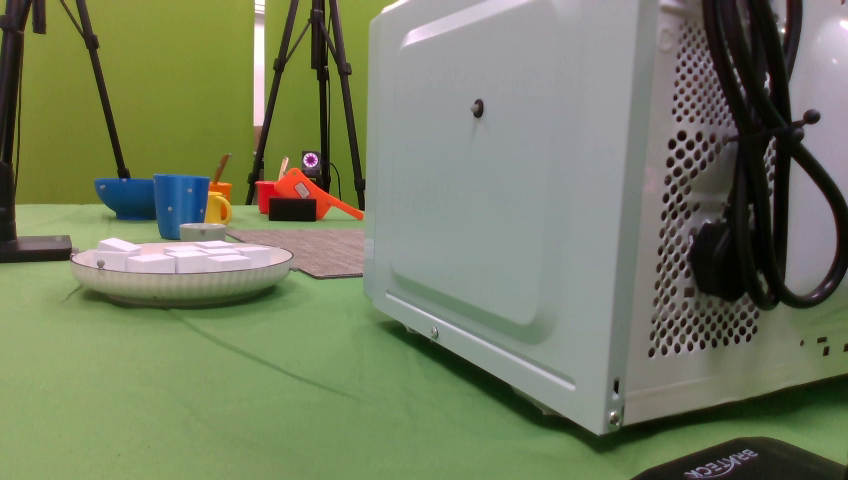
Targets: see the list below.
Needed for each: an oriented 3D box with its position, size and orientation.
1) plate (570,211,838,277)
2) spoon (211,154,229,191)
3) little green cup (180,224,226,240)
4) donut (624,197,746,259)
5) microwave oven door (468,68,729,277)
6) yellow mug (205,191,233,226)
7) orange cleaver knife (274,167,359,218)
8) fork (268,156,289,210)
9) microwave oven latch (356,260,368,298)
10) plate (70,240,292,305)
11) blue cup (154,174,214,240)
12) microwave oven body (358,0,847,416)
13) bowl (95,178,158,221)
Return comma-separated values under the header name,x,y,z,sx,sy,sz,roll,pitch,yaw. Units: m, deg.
name,x,y,z,sx,sy,sz,roll,pitch,yaw
plate,0.230,0.001,0.519,0.209,0.038,0.209,2,7,0
spoon,-0.431,-0.115,1.253,0.042,0.193,0.021,-3,54,-33
little green cup,-0.308,-0.001,0.846,0.061,0.038,0.061,2,8,0
donut,0.222,-0.009,0.518,0.099,0.048,0.099,12,8,-1
microwave oven door,0.210,-0.096,0.817,0.354,0.243,0.039,9,11,43
yellow mug,-0.415,-0.057,1.131,0.130,0.064,0.100,6,8,16
orange cleaver knife,-0.238,-0.091,1.381,0.212,0.077,0.012,31,0,-19
fork,-0.360,-0.144,1.508,0.028,0.018,0.207,1,49,1
microwave oven latch,-0.020,0.033,0.530,0.079,0.029,0.030,0,7,-26
plate,-0.242,0.031,0.618,0.208,0.039,0.207,2,8,0
blue cup,-0.391,-0.053,0.978,0.093,0.100,0.092,3,6,0
microwave oven body,0.211,-0.047,0.474,0.444,0.260,0.324,-1,7,-28
bowl,-0.576,-0.081,1.217,0.151,0.077,0.151,3,8,0
